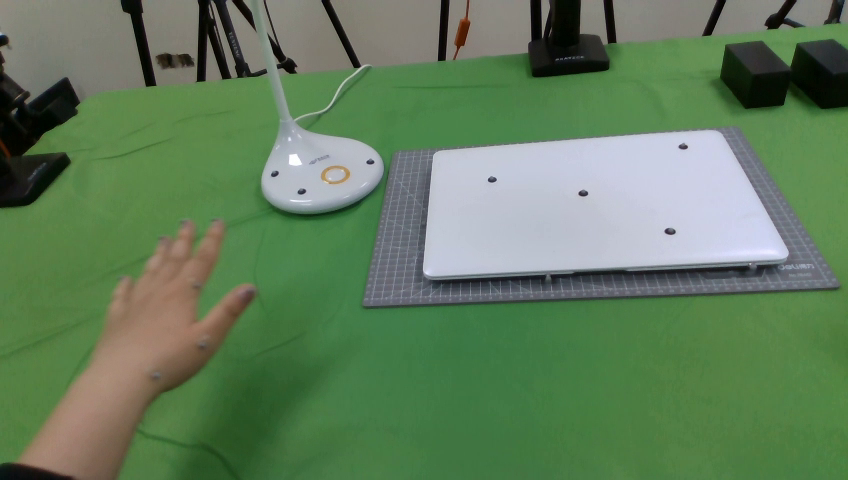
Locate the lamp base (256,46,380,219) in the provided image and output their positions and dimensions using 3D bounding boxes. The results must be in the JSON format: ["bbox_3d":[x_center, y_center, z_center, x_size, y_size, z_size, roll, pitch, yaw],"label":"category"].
[{"bbox_3d":[-0.155,-0.142,0.750,0.177,0.182,0.160,25,49,38],"label":"lamp base"}]

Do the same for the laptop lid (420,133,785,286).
[{"bbox_3d":[0.175,-0.043,0.673,0.356,0.013,0.239,-3,41,8],"label":"laptop lid"}]

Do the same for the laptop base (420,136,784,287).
[{"bbox_3d":[0.176,-0.035,0.682,0.354,0.023,0.233,-4,42,7],"label":"laptop base"}]
